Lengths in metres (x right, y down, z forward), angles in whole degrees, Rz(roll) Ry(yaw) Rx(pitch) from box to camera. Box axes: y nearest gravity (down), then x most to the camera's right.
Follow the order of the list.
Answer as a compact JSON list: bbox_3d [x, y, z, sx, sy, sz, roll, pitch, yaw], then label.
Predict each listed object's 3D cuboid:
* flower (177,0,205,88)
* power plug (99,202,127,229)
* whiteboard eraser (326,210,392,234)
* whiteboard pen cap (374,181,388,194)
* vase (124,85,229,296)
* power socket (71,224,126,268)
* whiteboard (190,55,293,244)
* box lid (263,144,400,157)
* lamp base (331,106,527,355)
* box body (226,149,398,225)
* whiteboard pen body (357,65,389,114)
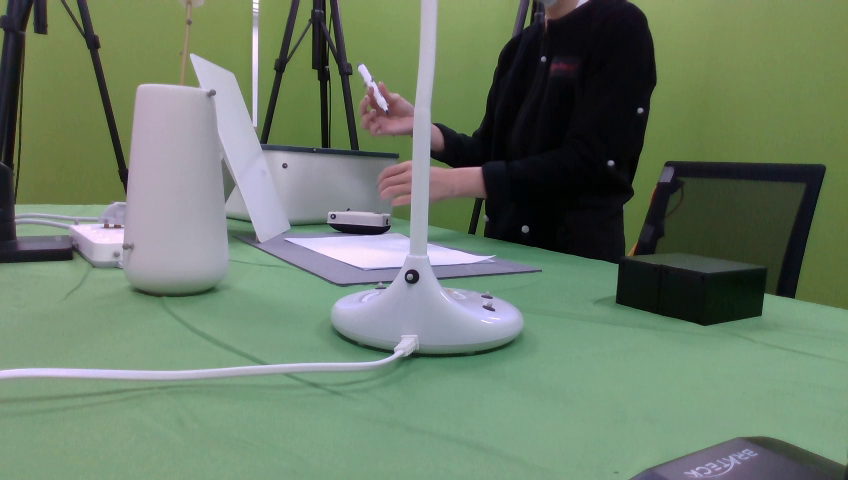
[{"bbox_3d":[-0.243,-0.131,0.609,0.044,0.361,0.038,-5,-12,11],"label":"flower"},{"bbox_3d":[-0.415,-0.026,0.848,0.073,0.052,0.035,6,5,-28],"label":"power plug"},{"bbox_3d":[-0.121,-0.034,1.131,0.112,0.042,0.056,4,8,13],"label":"whiteboard eraser"},{"bbox_3d":[-0.076,-0.091,1.053,0.018,0.018,0.033,-1,-6,-26],"label":"whiteboard pen cap"},{"bbox_3d":[-0.244,-0.047,0.598,0.098,0.200,0.098,3,8,0],"label":"vase"},{"bbox_3d":[-0.409,0.004,0.793,0.072,0.032,0.225,-2,8,-37],"label":"power socket"},{"bbox_3d":[-0.362,-0.129,1.029,0.144,0.305,0.217,-18,7,3],"label":"whiteboard"},{"bbox_3d":[-0.263,-0.203,1.369,0.262,0.015,0.373,9,10,39],"label":"box lid"},{"bbox_3d":[0.006,-0.012,0.478,0.161,0.180,0.179,2,10,2],"label":"lamp base"},{"bbox_3d":[-0.265,-0.129,1.380,0.253,0.160,0.366,8,9,39],"label":"box body"},{"bbox_3d":[-0.093,-0.278,1.118,0.017,0.017,0.140,-3,50,-36],"label":"whiteboard pen body"}]
